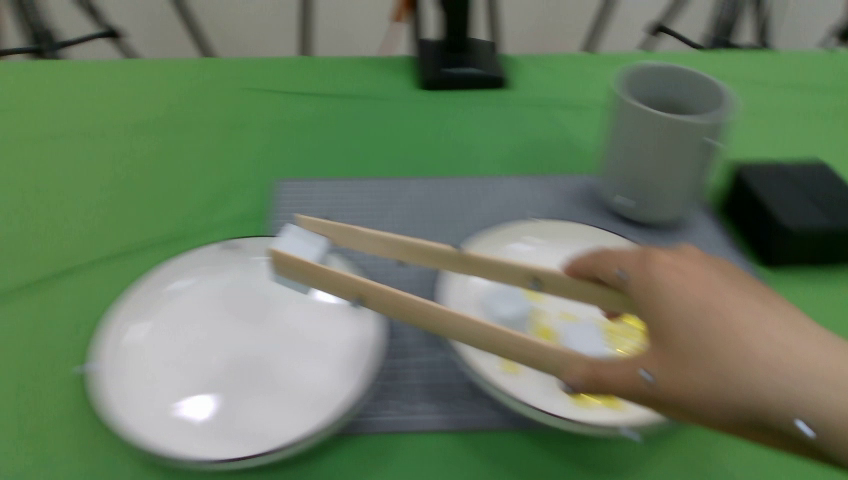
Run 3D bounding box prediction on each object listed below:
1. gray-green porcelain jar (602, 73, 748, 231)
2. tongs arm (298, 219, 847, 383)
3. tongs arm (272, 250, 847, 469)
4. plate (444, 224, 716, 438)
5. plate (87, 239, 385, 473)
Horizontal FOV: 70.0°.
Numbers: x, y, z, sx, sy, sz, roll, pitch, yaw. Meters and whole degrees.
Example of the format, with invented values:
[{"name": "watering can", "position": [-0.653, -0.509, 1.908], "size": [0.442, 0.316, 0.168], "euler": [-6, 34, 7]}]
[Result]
[{"name": "gray-green porcelain jar", "position": [0.235, -0.080, 0.587], "size": [0.106, 0.127, 0.105], "euler": [1, 42, -1]}, {"name": "tongs arm", "position": [0.089, 0.046, 0.357], "size": [0.383, 0.027, 0.050], "euler": [12, 46, 15]}, {"name": "tongs arm", "position": [0.079, 0.062, 0.342], "size": [0.386, 0.028, 0.028], "euler": [15, 44, 18]}, {"name": "plate", "position": [0.119, 0.068, 0.483], "size": [0.208, 0.039, 0.205], "euler": [2, 42, -1]}, {"name": "plate", "position": [-0.133, 0.081, 0.455], "size": [0.209, 0.038, 0.207], "euler": [1, 42, 0]}]
